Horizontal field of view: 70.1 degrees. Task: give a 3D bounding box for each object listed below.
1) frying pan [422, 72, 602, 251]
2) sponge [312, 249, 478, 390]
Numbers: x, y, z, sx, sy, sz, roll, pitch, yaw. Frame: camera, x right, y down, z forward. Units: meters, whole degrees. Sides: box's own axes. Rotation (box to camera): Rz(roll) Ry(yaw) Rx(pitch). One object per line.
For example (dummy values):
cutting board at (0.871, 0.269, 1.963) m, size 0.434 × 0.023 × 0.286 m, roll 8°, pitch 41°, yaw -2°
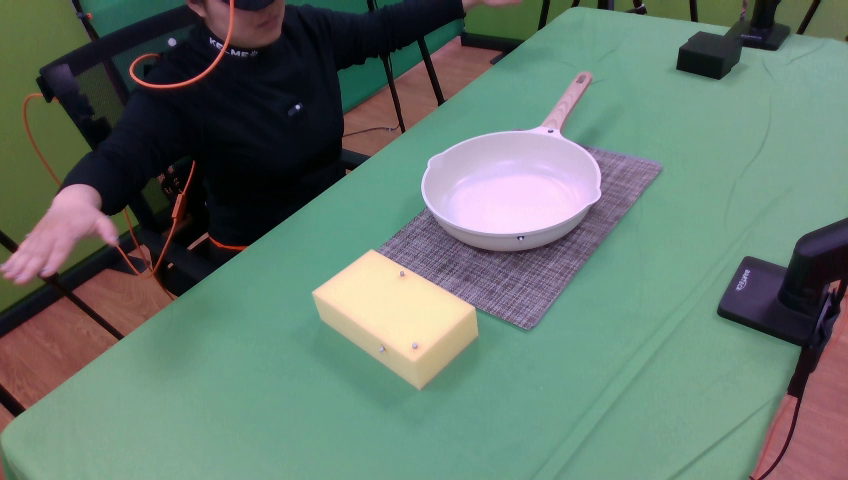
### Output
frying pan at (0.199, -0.155, 1.062) m, size 0.304 × 0.103 × 0.488 m, roll 19°, pitch 56°, yaw 28°
sponge at (-0.042, 0.103, 0.843) m, size 0.205 × 0.061 × 0.118 m, roll 27°, pitch 52°, yaw 35°
